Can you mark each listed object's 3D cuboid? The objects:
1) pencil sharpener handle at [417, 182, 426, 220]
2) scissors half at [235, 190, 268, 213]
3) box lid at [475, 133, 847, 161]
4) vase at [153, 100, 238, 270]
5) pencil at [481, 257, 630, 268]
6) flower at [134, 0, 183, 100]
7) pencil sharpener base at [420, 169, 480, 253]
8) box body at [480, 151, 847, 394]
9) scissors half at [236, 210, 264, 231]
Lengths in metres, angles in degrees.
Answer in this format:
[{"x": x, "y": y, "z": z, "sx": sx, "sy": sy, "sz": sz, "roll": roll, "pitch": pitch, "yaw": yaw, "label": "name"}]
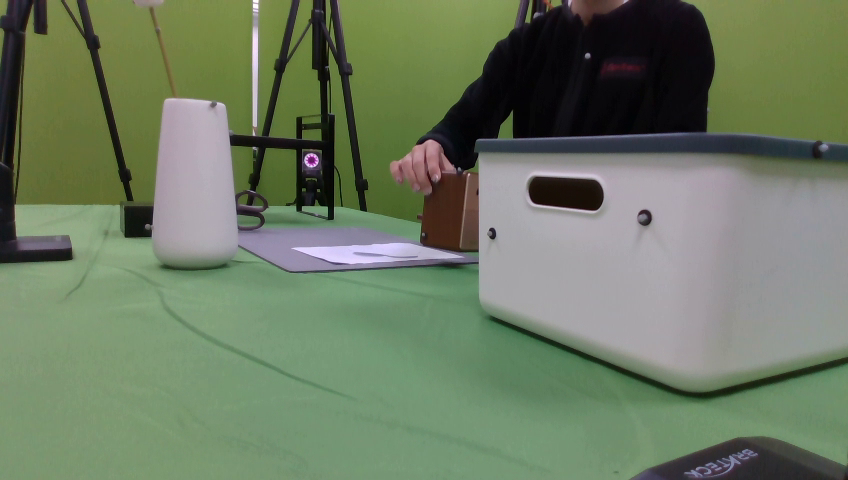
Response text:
[{"x": 0.004, "y": -0.059, "z": 0.854, "sx": 0.030, "sy": 0.067, "sz": 0.036, "roll": 10, "pitch": 12, "yaw": 39, "label": "pencil sharpener handle"}, {"x": -0.363, "y": -0.070, "z": 1.060, "sx": 0.176, "sy": 0.040, "sz": 0.013, "roll": 0, "pitch": 16, "yaw": -23, "label": "scissors half"}, {"x": 0.255, "y": -0.073, "z": 0.528, "sx": 0.373, "sy": 0.015, "sz": 0.262, "roll": -2, "pitch": 8, "yaw": -31, "label": "box lid"}, {"x": -0.278, "y": -0.066, "z": 0.736, "sx": 0.098, "sy": 0.200, "sz": 0.098, "roll": 2, "pitch": 9, "yaw": 0, "label": "vase"}, {"x": 0.171, "y": 0.028, "z": 0.790, "sx": 0.194, "sy": 0.012, "sz": 0.012, "roll": 2, "pitch": 7, "yaw": 2, "label": "pencil"}, {"x": -0.282, "y": -0.147, "z": 0.713, "sx": 0.038, "sy": 0.362, "sz": 0.044, "roll": -23, "pitch": 24, "yaw": -31, "label": "flower"}, {"x": 0.041, "y": -0.040, "z": 0.822, "sx": 0.076, "sy": 0.107, "sz": 0.062, "roll": 10, "pitch": 6, "yaw": 39, "label": "pencil sharpener base"}, {"x": 0.254, "y": 0.002, "z": 0.539, "sx": 0.366, "sy": 0.160, "sz": 0.253, "roll": -2, "pitch": 8, "yaw": -31, "label": "box body"}, {"x": -0.369, "y": -0.051, "z": 1.065, "sx": 0.176, "sy": 0.040, "sz": 0.012, "roll": 19, "pitch": 13, "yaw": -27, "label": "scissors half"}]
